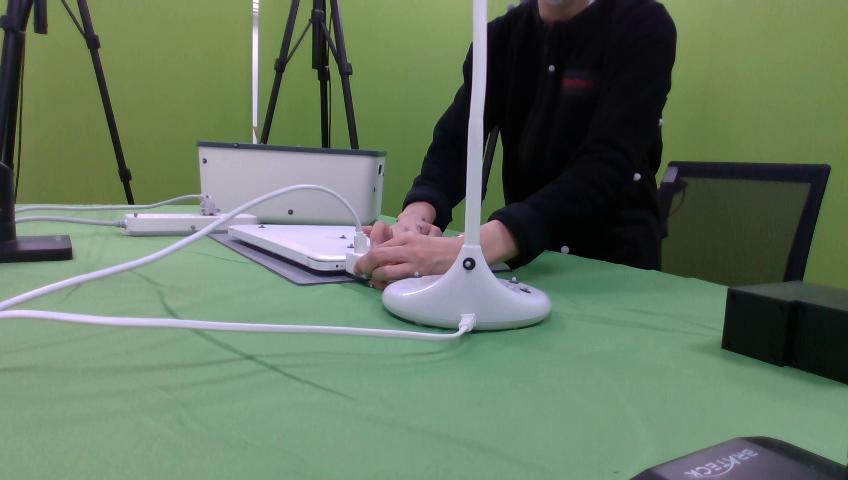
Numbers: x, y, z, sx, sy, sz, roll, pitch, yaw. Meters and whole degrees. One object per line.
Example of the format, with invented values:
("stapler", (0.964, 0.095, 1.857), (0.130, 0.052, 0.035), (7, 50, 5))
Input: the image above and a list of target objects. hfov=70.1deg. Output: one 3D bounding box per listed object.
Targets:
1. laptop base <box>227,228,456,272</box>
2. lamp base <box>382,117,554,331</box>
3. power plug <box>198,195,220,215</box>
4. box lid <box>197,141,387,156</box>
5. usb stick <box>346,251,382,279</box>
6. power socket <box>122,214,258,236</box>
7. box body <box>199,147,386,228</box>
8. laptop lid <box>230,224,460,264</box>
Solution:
("laptop base", (-0.122, 0.012, 0.888), (0.237, 0.023, 0.352), (2, 6, -35))
("lamp base", (0.045, -0.019, 0.547), (0.161, 0.180, 0.179), (2, 10, -4))
("power plug", (-0.387, -0.055, 1.089), (0.035, 0.052, 0.072), (-1, 6, -22))
("box lid", (-0.275, -0.198, 1.325), (0.372, 0.015, 0.263), (3, 8, 1))
("usb stick", (-0.072, 0.027, 0.686), (0.021, 0.027, 0.059), (-5, 5, -37))
("power socket", (-0.399, -0.028, 1.049), (0.228, 0.032, 0.072), (-3, 8, -34))
("box body", (-0.277, -0.124, 1.334), (0.364, 0.160, 0.254), (3, 7, 1))
("laptop lid", (-0.119, 0.001, 0.888), (0.243, 0.013, 0.355), (1, 8, -33))
